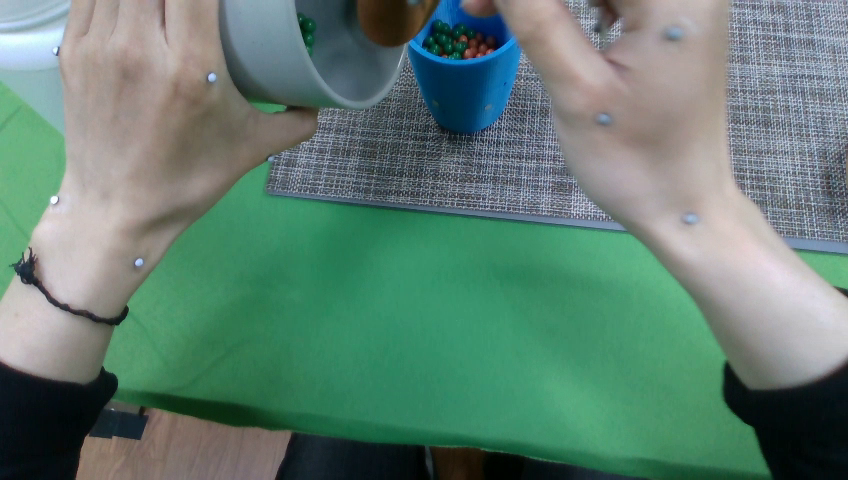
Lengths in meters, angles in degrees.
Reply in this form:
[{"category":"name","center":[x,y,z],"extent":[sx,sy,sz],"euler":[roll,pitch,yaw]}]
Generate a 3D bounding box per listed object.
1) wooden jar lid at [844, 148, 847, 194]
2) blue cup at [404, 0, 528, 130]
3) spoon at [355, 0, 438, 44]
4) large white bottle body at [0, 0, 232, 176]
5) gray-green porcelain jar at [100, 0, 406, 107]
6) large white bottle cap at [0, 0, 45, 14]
[{"category":"wooden jar lid","center":[0.347,-0.039,0.425],"extent":[0.108,0.021,0.107],"euler":[0,68,0]},{"category":"blue cup","center":[0.028,-0.130,0.431],"extent":[0.092,0.101,0.092],"euler":[-2,68,5]},{"category":"spoon","center":[0.019,-0.109,0.240],"extent":[0.022,0.192,0.042],"euler":[-13,105,-26]},{"category":"large white bottle body","center":[-0.222,-0.140,0.408],"extent":[0.130,0.186,0.129],"euler":[-1,68,3]},{"category":"gray-green porcelain jar","center":[-0.086,-0.124,0.308],"extent":[0.126,0.107,0.105],"euler":[9,68,25]},{"category":"large white bottle cap","center":[-0.228,-0.172,0.330],"extent":[0.115,0.018,0.114],"euler":[-1,68,3]}]
